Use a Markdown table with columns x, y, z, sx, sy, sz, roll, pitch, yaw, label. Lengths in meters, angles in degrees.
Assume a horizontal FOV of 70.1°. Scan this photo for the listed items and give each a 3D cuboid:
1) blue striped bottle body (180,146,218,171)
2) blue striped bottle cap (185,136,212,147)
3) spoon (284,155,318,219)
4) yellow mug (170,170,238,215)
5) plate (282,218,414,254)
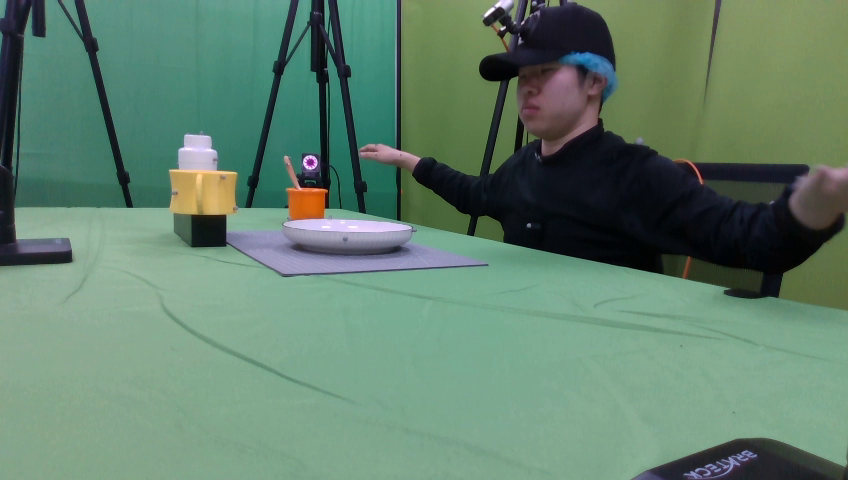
| x | y | z | sx | sy | sz | roll | pitch | yaw | label |
| --- | --- | --- | --- | --- | --- | --- | --- | --- | --- |
| -0.392 | -0.118 | 1.053 | 0.063 | 0.120 | 0.063 | 3 | 7 | 0 | blue striped bottle body |
| -0.390 | -0.169 | 1.047 | 0.044 | 0.020 | 0.044 | 4 | 10 | 0 | blue striped bottle cap |
| -0.286 | -0.122 | 1.367 | 0.042 | 0.021 | 0.193 | -6 | 51 | -36 | spoon |
| -0.342 | -0.074 | 0.939 | 0.100 | 0.064 | 0.130 | 0 | 8 | -16 | yellow mug |
| -0.121 | -0.007 | 0.971 | 0.208 | 0.039 | 0.207 | 2 | 7 | 0 | plate |
